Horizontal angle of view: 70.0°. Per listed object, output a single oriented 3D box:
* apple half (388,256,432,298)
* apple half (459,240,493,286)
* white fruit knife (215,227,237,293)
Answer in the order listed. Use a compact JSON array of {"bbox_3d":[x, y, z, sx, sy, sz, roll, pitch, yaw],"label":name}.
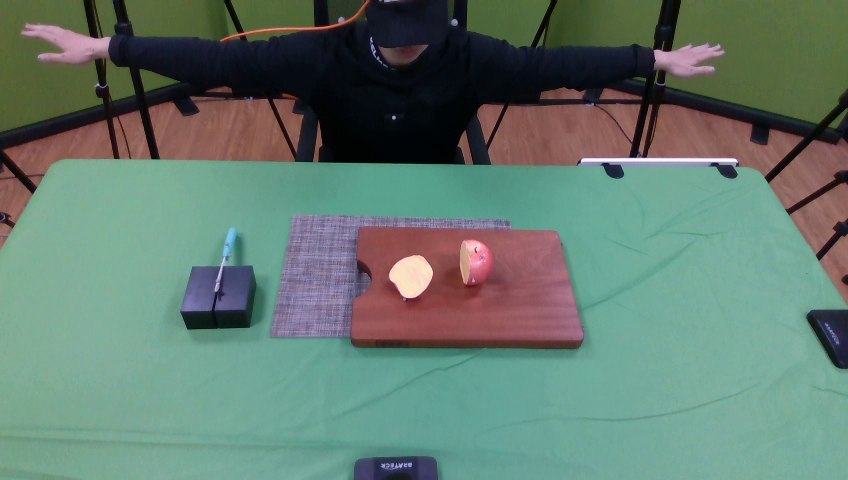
[{"bbox_3d":[-0.019,0.069,1.080,0.081,0.033,0.081,-6,62,12],"label":"apple half"},{"bbox_3d":[0.096,0.042,1.093,0.053,0.075,0.080,-1,42,-11],"label":"apple half"},{"bbox_3d":[-0.360,0.033,1.101,0.016,0.027,0.206,0,32,-9],"label":"white fruit knife"}]
